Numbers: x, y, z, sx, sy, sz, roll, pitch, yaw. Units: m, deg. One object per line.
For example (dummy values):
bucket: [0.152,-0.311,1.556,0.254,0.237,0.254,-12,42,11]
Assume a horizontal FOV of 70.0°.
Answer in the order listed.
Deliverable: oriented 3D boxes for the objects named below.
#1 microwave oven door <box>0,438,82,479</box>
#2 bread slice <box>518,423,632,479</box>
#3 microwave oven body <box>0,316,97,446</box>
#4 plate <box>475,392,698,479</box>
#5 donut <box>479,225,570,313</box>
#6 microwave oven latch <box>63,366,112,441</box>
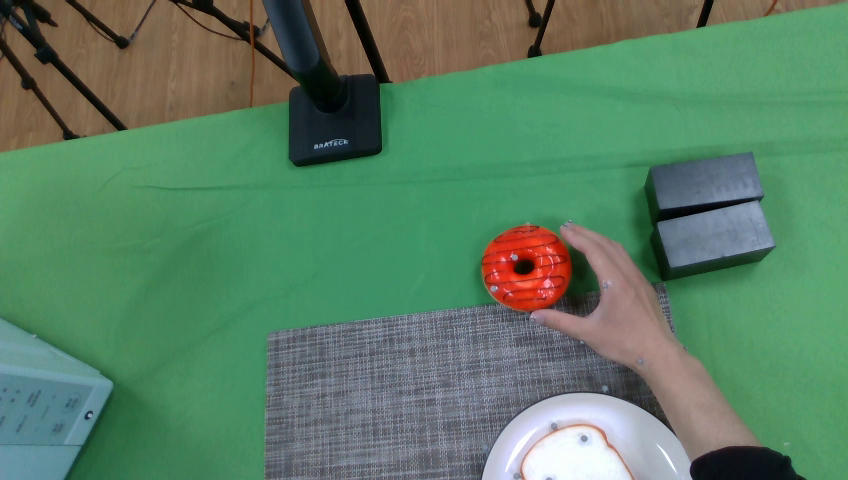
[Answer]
microwave oven door: [-0.504,0.350,0.557,0.039,0.246,0.354,20,77,19]
bread slice: [0.149,0.244,0.576,0.105,0.019,0.130,-27,69,2]
microwave oven body: [-0.616,0.267,0.615,0.324,0.262,0.440,20,78,17]
plate: [0.152,0.250,0.572,0.207,0.039,0.206,-4,71,11]
donut: [0.108,0.032,0.654,0.099,0.048,0.098,-6,68,15]
microwave oven latch: [-0.393,0.188,0.697,0.030,0.030,0.079,22,79,18]
